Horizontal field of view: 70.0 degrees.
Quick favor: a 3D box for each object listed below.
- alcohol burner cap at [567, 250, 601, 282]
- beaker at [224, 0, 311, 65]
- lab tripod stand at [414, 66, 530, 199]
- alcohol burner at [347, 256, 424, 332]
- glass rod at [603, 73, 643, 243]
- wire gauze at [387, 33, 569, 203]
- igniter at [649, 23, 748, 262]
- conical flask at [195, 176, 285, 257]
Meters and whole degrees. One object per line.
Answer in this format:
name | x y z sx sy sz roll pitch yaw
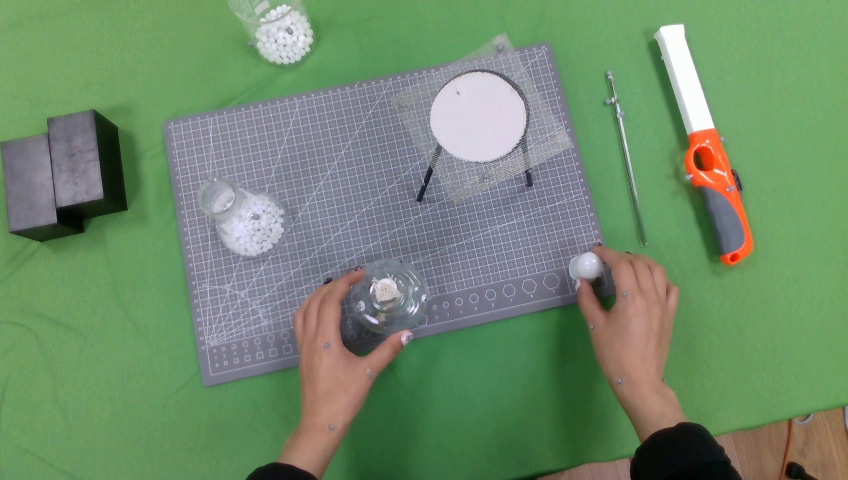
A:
alcohol burner cap | 0.171 0.025 0.637 0.034 0.048 0.033 0 81 2
beaker | -0.164 -0.244 0.657 0.074 0.100 0.084 36 81 6
lab tripod stand | 0.047 -0.101 0.612 0.148 0.132 0.148 0 82 0
alcohol burner | -0.038 0.051 0.596 0.078 0.119 0.077 0 79 -1
glass rod | 0.221 -0.094 0.677 0.008 0.008 0.199 -8 80 -2
wire gauze | 0.048 -0.111 0.545 0.125 0.011 0.121 -29 82 -4
igniter | 0.304 -0.111 0.671 0.057 0.025 0.275 -11 80 -13
conical flask | -0.188 -0.029 0.605 0.075 0.122 0.075 0 80 0
